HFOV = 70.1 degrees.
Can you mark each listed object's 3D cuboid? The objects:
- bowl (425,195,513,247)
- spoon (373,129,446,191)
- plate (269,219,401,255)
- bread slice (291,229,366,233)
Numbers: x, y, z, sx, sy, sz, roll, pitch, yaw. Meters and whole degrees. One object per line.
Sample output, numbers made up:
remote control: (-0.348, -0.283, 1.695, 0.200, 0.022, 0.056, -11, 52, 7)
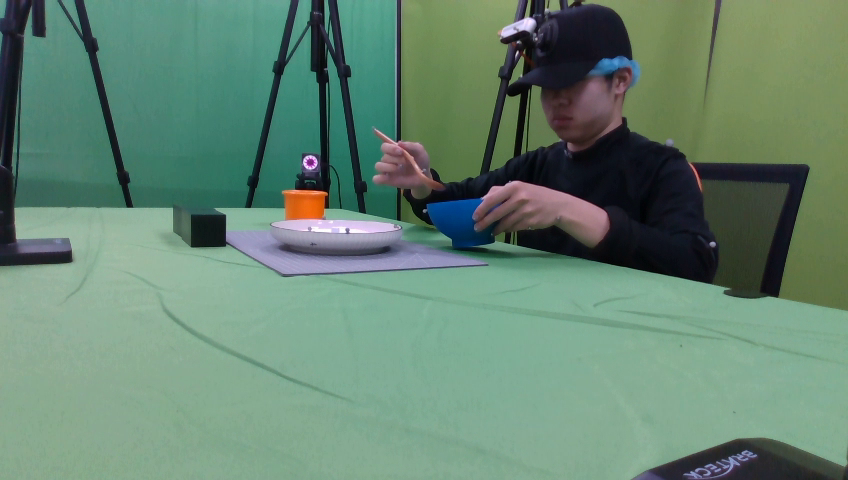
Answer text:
bowl: (0.080, -0.031, 1.030, 0.151, 0.077, 0.151, -5, 5, 1)
spoon: (-0.028, -0.141, 1.051, 0.193, 0.021, 0.042, 47, 7, 30)
plate: (-0.140, -0.006, 0.958, 0.209, 0.038, 0.209, 3, 7, 0)
bread slice: (-0.143, -0.003, 0.953, 0.135, 0.018, 0.106, -1, 8, -37)
